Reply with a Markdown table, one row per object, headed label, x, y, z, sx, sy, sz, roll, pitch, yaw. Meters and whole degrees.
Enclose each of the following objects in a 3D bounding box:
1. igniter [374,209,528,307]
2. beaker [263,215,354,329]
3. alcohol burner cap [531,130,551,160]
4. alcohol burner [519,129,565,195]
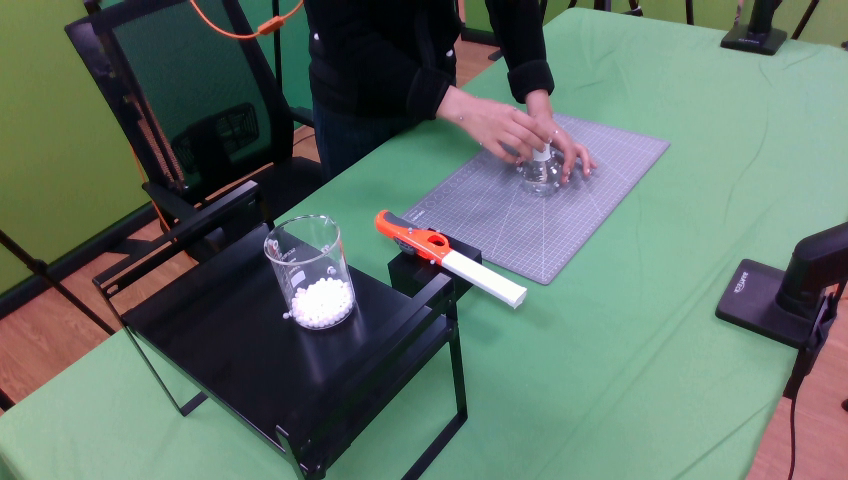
| label | x | y | z | sx | sy | sz | roll | pitch | yaw |
| --- | --- | --- | --- | --- | --- | --- | --- | --- | --- |
| igniter | 0.027 | 0.019 | 0.873 | 0.274 | 0.025 | 0.057 | 29 | 52 | 31 |
| beaker | -0.112 | 0.034 | 0.616 | 0.073 | 0.101 | 0.084 | 13 | 44 | 23 |
| alcohol burner cap | 0.196 | -0.161 | 1.010 | 0.034 | 0.048 | 0.033 | -5 | 41 | 5 |
| alcohol burner | 0.200 | -0.136 | 1.028 | 0.078 | 0.119 | 0.077 | -5 | 42 | 5 |
